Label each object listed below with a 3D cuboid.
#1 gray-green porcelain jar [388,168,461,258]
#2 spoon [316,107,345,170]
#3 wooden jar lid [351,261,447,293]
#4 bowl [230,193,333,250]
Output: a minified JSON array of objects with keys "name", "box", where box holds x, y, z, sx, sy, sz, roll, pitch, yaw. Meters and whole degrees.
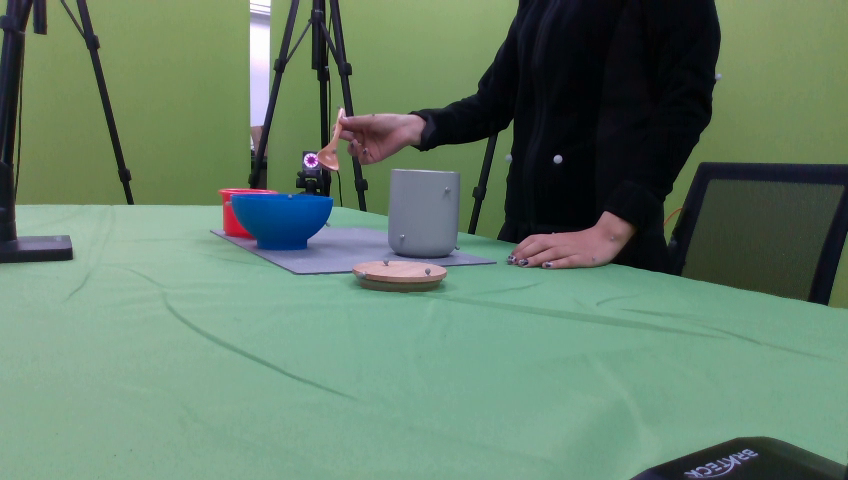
[{"name":"gray-green porcelain jar","box":[0.000,-0.041,0.897,0.106,0.126,0.106,2,7,0]},{"name":"spoon","box":[-0.152,-0.177,1.038,0.042,0.021,0.193,29,40,-20]},{"name":"wooden jar lid","box":[-0.028,0.042,0.687,0.108,0.020,0.108,3,8,0]},{"name":"bowl","box":[-0.214,-0.028,0.912,0.151,0.077,0.151,2,8,0]}]
